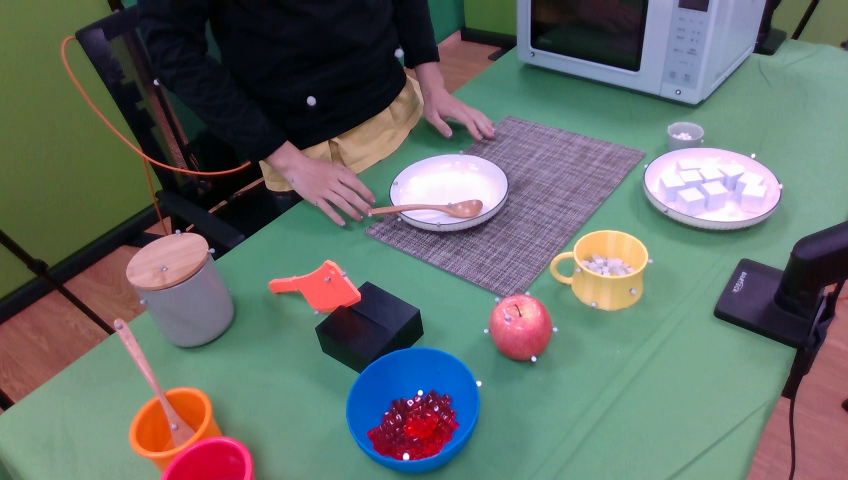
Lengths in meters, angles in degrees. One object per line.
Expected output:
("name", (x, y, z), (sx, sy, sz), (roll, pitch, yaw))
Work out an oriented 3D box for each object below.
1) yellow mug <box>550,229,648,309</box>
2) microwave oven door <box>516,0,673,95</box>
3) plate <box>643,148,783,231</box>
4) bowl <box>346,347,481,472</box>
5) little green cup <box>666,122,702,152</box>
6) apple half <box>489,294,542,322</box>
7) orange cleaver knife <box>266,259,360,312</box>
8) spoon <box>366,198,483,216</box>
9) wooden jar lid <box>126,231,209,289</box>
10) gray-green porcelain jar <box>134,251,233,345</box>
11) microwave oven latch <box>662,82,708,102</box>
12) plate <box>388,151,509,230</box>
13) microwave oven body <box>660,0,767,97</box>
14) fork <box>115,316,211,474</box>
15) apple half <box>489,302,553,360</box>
("yellow mug", (0.245, 0.040, 0.857), (0.130, 0.064, 0.099), (1, 42, 11))
("microwave oven door", (0.344, -0.458, 1.256), (0.353, 0.245, 0.039), (26, 51, 33))
("plate", (0.464, -0.080, 0.986), (0.207, 0.039, 0.206), (-4, 41, 4))
("bowl", (-0.008, 0.205, 0.691), (0.151, 0.077, 0.150), (-4, 40, 4))
("little green cup", (0.471, -0.184, 1.102), (0.061, 0.039, 0.061), (-5, 41, 5))
("apple half", (0.120, 0.098, 0.800), (0.081, 0.081, 0.032), (-10, 44, -4))
("orange cleaver knife", (-0.161, 0.070, 0.859), (0.210, 0.077, 0.012), (-13, 22, 49))
("spoon", (0.002, -0.055, 0.996), (0.194, 0.022, 0.041), (0, 47, -11))
("wooden jar lid", (-0.340, 0.030, 0.808), (0.108, 0.021, 0.108), (-5, 39, 5))
("gray-green porcelain jar", (-0.334, 0.076, 0.849), (0.106, 0.127, 0.105), (-4, 41, 4))
("microwave oven latch", (0.517, -0.298, 1.202), (0.078, 0.029, 0.030), (27, 52, 34))
("plate", (0.044, -0.082, 1.042), (0.209, 0.038, 0.208), (-4, 40, 4))
("microwave oven body", (0.473, -0.516, 1.313), (0.438, 0.261, 0.327), (26, 51, 34))
("fork", (-0.308, 0.179, 0.708), (0.028, 0.018, 0.207), (-30, 89, -21))
("apple half", (0.127, 0.123, 0.771), (0.081, 0.075, 0.053), (-8, 43, -6))
